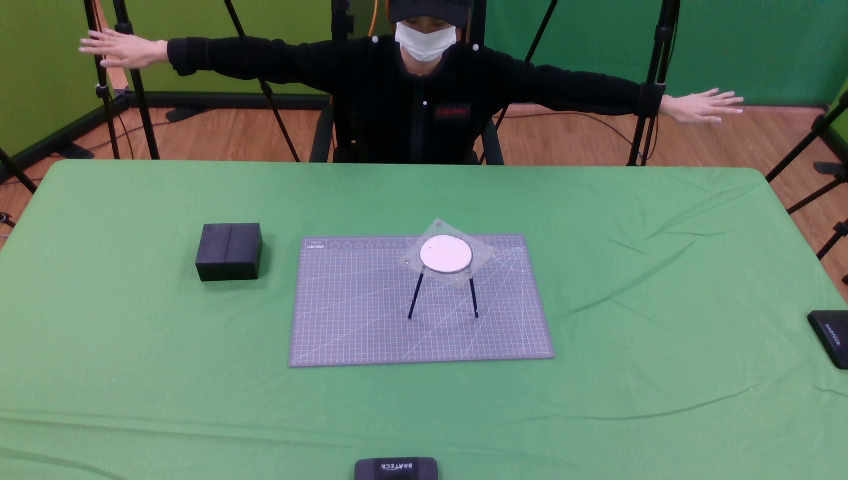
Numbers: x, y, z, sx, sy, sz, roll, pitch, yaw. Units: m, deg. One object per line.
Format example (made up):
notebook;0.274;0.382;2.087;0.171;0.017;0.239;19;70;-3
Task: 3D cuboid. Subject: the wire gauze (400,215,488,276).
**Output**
wire gauze;0.035;0.004;1.000;0.125;0.011;0.121;7;49;13

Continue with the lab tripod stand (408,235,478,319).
lab tripod stand;0.032;0.065;1.057;0.148;0.132;0.147;1;45;-1
